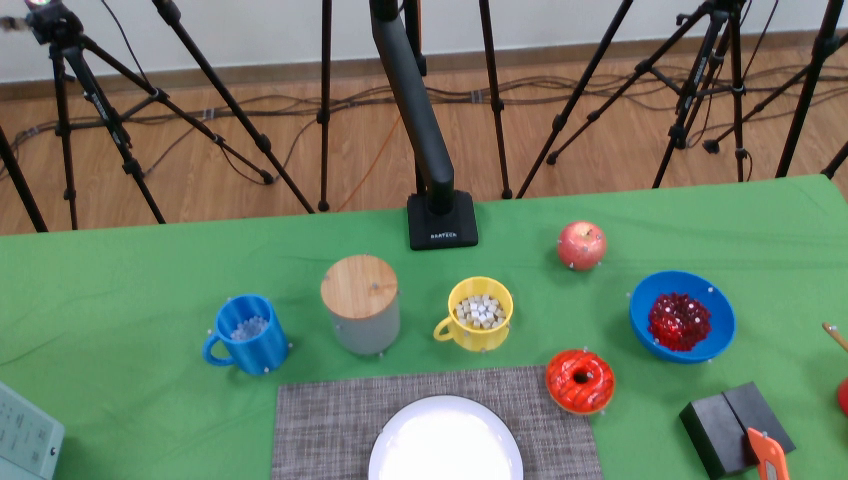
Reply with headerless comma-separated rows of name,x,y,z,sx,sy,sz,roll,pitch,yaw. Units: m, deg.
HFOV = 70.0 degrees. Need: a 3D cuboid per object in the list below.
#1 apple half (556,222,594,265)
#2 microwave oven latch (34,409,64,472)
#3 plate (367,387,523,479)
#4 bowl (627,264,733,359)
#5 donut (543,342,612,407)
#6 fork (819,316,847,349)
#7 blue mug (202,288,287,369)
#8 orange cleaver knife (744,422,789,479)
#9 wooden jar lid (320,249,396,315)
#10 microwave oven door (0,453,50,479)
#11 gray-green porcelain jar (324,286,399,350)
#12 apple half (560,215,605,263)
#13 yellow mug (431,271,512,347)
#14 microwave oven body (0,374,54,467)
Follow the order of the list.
apple half,0.239,0.015,0.996,0.033,0.082,0.080,-30,59,-24
microwave oven latch,-0.518,0.274,0.826,0.030,0.030,0.078,-2,55,-1
plate,0.027,0.303,0.816,0.208,0.039,0.205,0,55,1
bowl,0.376,0.120,0.919,0.151,0.077,0.150,0,55,1
donut,0.223,0.196,0.884,0.099,0.048,0.098,0,56,1
fork,0.602,0.170,0.836,0.209,0.018,0.028,44,56,-20
blue mug,-0.270,0.140,0.898,0.116,0.107,0.081,-26,58,-16
orange cleaver knife,0.454,0.336,0.762,0.012,0.077,0.210,-14,79,-5
wooden jar lid,-0.093,0.062,0.861,0.108,0.021,0.107,-1,53,1
microwave oven door,-0.509,0.393,0.617,0.039,0.246,0.352,-4,55,-1
gray-green porcelain jar,-0.092,0.099,0.912,0.106,0.127,0.105,0,55,1
apple half,0.270,-0.004,1.011,0.053,0.075,0.080,-29,55,-24
yellow mug,0.070,0.113,0.936,0.131,0.064,0.099,-24,58,-14
microwave oven body,-0.657,0.370,0.642,0.326,0.262,0.437,-3,55,-2
